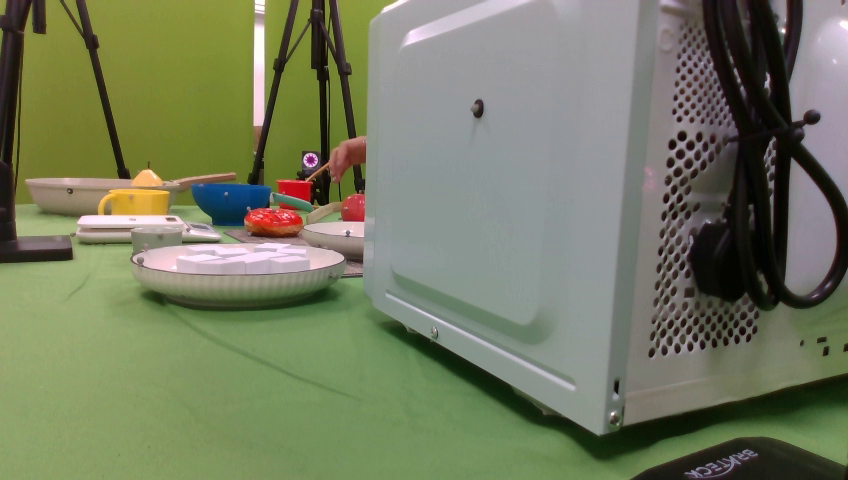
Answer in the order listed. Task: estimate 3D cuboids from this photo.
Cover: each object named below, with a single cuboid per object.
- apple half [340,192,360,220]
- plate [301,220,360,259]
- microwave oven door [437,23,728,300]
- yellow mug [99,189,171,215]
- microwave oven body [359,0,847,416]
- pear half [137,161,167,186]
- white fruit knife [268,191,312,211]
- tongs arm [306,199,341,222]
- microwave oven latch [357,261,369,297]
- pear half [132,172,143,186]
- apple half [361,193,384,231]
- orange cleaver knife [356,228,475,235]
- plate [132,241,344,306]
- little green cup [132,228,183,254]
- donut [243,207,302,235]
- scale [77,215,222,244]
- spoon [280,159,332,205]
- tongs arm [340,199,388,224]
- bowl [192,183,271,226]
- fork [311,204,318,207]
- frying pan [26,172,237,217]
[{"bbox_3d":[-0.130,-0.054,1.144,0.053,0.074,0.081,1,10,12],"label":"apple half"},{"bbox_3d":[-0.077,-0.002,0.893,0.209,0.038,0.209,3,8,0],"label":"plate"},{"bbox_3d":[0.181,-0.072,0.621,0.358,0.243,0.039,-2,8,-29],"label":"microwave oven door"},{"bbox_3d":[-0.518,-0.055,1.080,0.099,0.064,0.131,6,9,26],"label":"yellow mug"},{"bbox_3d":[0.211,-0.047,0.474,0.444,0.260,0.324,-1,7,-28],"label":"microwave oven body"},{"bbox_3d":[-0.602,-0.120,1.354,0.056,0.110,0.076,4,11,6],"label":"pear half"},{"bbox_3d":[-0.364,-0.105,1.464,0.208,0.027,0.016,15,0,-34],"label":"white fruit knife"},{"bbox_3d":[-0.234,-0.069,1.413,0.028,0.028,0.387,-5,8,1],"label":"tongs arm"},{"bbox_3d":[-0.019,0.033,0.530,0.079,0.029,0.030,-1,7,-26],"label":"microwave oven latch"},{"bbox_3d":[-0.638,-0.113,1.361,0.031,0.088,0.070,5,10,4],"label":"pear half"},{"bbox_3d":[-0.092,-0.053,1.136,0.033,0.081,0.081,1,7,13],"label":"apple half"},{"bbox_3d":[-0.017,-0.016,1.080,0.211,0.012,0.077,-1,2,-2],"label":"orange cleaver knife"},{"bbox_3d":[-0.187,0.033,0.625,0.208,0.039,0.207,2,7,0],"label":"plate"},{"bbox_3d":[-0.342,0.006,0.779,0.061,0.038,0.061,2,8,0],"label":"little green cup"},{"bbox_3d":[-0.261,-0.032,1.043,0.099,0.048,0.099,4,9,0],"label":"donut"},{"bbox_3d":[-0.434,-0.019,0.963,0.202,0.031,0.148,-1,9,-27],"label":"scale"},{"bbox_3d":[-0.316,-0.159,1.640,0.194,0.022,0.041,-50,31,-20],"label":"spoon"},{"bbox_3d":[-0.149,-0.071,1.429,0.051,0.026,0.383,-4,9,-15],"label":"tongs arm"},{"bbox_3d":[-0.382,-0.071,1.202,0.151,0.077,0.151,3,7,0],"label":"bowl"},{"bbox_3d":[-0.356,-0.105,1.526,0.208,0.018,0.028,16,-5,-41],"label":"fork"},{"bbox_3d":[-0.624,-0.118,1.387,0.305,0.102,0.490,8,17,32],"label":"frying pan"}]
